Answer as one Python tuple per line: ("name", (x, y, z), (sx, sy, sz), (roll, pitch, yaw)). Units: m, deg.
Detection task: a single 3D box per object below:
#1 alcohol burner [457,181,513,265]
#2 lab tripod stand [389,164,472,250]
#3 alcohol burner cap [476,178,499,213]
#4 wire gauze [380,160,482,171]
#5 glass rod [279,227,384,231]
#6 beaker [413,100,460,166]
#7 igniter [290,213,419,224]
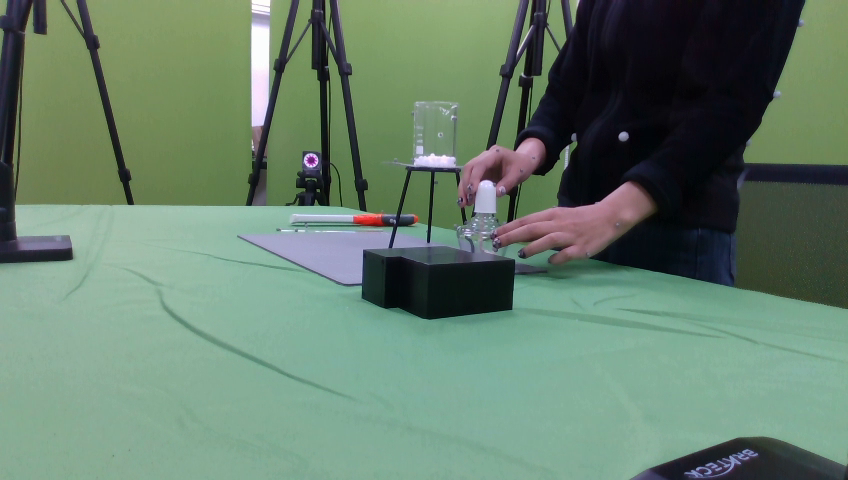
("alcohol burner", (0.085, -0.025, 0.838), (0.078, 0.119, 0.078), (0, 8, 0))
("lab tripod stand", (0.011, -0.054, 0.960), (0.148, 0.131, 0.148), (2, 9, 0))
("alcohol burner cap", (0.089, -0.062, 0.837), (0.034, 0.048, 0.034), (1, 11, 0))
("wire gauze", (0.011, -0.119, 0.951), (0.122, 0.011, 0.124), (-5, 12, -32))
("glass rod", (-0.175, -0.021, 1.161), (0.200, 0.008, 0.008), (1, 7, -15))
("beaker", (0.020, -0.167, 0.953), (0.073, 0.100, 0.084), (5, 9, 26))
("igniter", (-0.143, -0.046, 1.288), (0.278, 0.025, 0.057), (-1, -3, -24))
